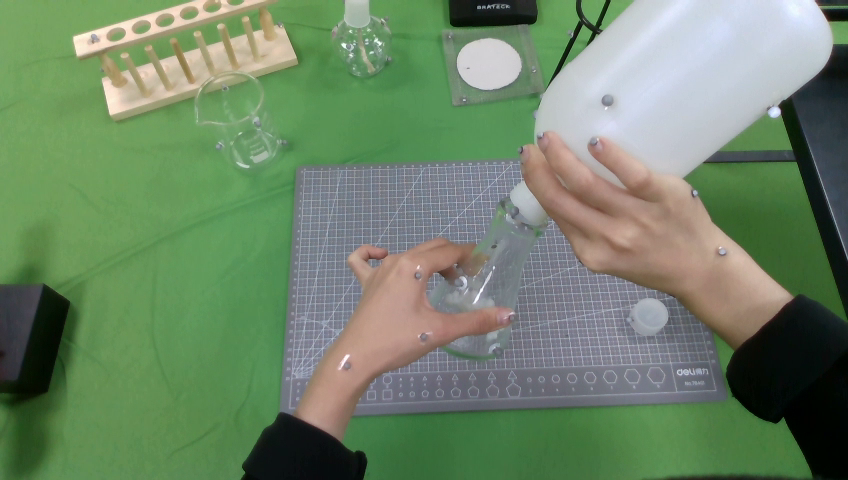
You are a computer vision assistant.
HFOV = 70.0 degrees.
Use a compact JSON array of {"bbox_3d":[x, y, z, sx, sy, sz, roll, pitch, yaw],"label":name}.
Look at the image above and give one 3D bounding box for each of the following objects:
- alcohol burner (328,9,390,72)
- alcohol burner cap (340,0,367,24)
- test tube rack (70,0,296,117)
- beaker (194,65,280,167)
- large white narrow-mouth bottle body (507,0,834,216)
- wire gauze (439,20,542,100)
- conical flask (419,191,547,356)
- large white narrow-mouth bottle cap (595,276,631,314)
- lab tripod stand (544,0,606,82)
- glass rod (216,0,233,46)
[{"bbox_3d":[-0.083,-0.269,0.755,0.078,0.120,0.077,0,62,0],"label":"alcohol burner"},{"bbox_3d":[-0.083,-0.287,0.723,0.034,0.048,0.033,4,63,-8],"label":"alcohol burner cap"},{"bbox_3d":[-0.294,-0.241,0.759,0.242,0.086,0.066,-21,66,-9],"label":"test tube rack"},{"bbox_3d":[-0.214,-0.137,0.701,0.084,0.101,0.073,-42,70,-17],"label":"beaker"},{"bbox_3d":[0.131,-0.085,0.375,0.195,0.102,0.101,-42,64,26],"label":"large white narrow-mouth bottle body"},{"bbox_3d":[0.086,-0.242,0.799,0.121,0.011,0.124,-6,65,-4],"label":"wire gauze"},{"bbox_3d":[0.048,0.022,0.450,0.075,0.122,0.074,16,35,-11],"label":"conical flask"},{"bbox_3d":[0.202,0.060,0.649,0.038,0.024,0.037,-1,64,2],"label":"large white narrow-mouth bottle cap"},{"bbox_3d":[0.215,-0.235,0.726,0.148,0.132,0.147,1,64,-1],"label":"lab tripod stand"},{"bbox_3d":[-0.248,-0.304,0.714,0.008,0.201,0.008,2,63,-4],"label":"glass rod"}]
